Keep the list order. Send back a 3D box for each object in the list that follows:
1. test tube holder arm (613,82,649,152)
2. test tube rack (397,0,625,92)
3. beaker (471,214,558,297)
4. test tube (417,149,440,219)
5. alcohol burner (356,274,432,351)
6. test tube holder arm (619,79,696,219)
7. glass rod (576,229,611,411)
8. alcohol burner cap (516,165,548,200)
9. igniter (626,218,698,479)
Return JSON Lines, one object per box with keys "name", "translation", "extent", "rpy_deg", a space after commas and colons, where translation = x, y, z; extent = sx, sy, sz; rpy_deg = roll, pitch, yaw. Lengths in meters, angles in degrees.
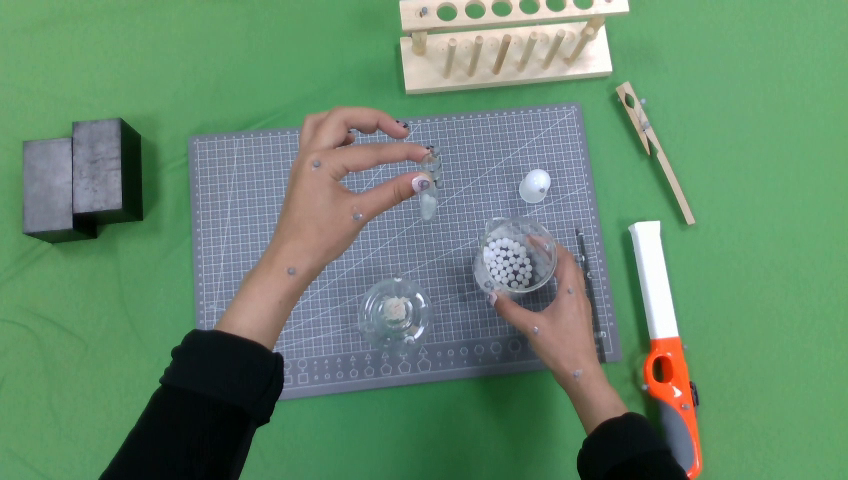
{"name": "test tube holder arm", "translation": [0.243, -0.142, 0.703], "extent": [0.010, 0.015, 0.087], "rpy_deg": [-29, 81, 28]}
{"name": "test tube rack", "translation": [0.093, -0.225, 0.678], "extent": [0.242, 0.085, 0.066], "rpy_deg": [-6, 79, -3]}
{"name": "beaker", "translation": [0.085, 0.018, 0.623], "extent": [0.074, 0.100, 0.083], "rpy_deg": [-38, 83, -8]}
{"name": "test tube", "translation": [0.002, -0.043, 0.512], "extent": [0.017, 0.151, 0.017], "rpy_deg": [0, 77, -1]}
{"name": "alcohol burner", "translation": [-0.030, 0.070, 0.601], "extent": [0.078, 0.119, 0.077], "rpy_deg": [0, 77, -1]}
{"name": "test tube holder arm", "translation": [0.267, -0.105, 0.694], "extent": [0.013, 0.015, 0.177], "rpy_deg": [-30, 81, 28]}
{"name": "glass rod", "translation": [0.184, 0.084, 0.661], "extent": [0.008, 0.008, 0.199], "rpy_deg": [-6, 80, -4]}
{"name": "alcohol burner cap", "translation": [0.122, -0.065, 0.668], "extent": [0.034, 0.048, 0.033], "rpy_deg": [0, 79, -2]}
{"name": "igniter", "translation": [0.255, 0.112, 0.651], "extent": [0.057, 0.025, 0.275], "rpy_deg": [-3, 79, -13]}
